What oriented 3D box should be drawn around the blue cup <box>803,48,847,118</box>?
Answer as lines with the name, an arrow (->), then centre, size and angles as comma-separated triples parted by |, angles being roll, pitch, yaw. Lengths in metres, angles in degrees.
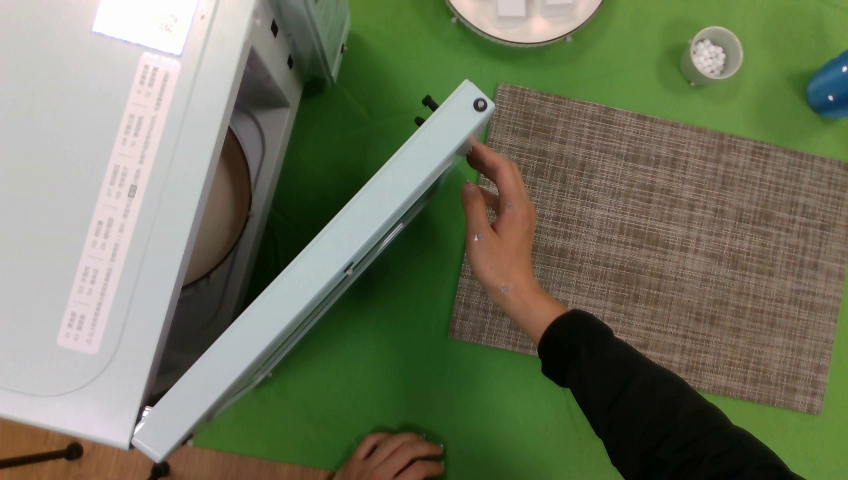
blue cup -> 0.488, -0.179, 0.682 | 0.093, 0.100, 0.092 | 0, 89, -4

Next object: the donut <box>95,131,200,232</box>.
donut -> -0.268, -0.057, 0.588 | 0.099, 0.048, 0.099 | 0, 91, 5

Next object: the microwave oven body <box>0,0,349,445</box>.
microwave oven body -> -0.286, -0.096, 0.546 | 0.326, 0.260, 0.441 | 15, 87, -3

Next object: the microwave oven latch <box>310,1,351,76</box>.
microwave oven latch -> -0.103, -0.222, 0.658 | 0.030, 0.029, 0.079 | 19, 87, -3

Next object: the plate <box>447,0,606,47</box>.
plate -> 0.114, -0.321, 0.695 | 0.208, 0.039, 0.207 | 0, 88, -4

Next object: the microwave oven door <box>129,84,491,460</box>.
microwave oven door -> -0.086, 0.024, 0.549 | 0.039, 0.244, 0.355 | 43, 86, 0

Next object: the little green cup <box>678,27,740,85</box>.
little green cup -> 0.329, -0.211, 0.705 | 0.061, 0.038, 0.061 | 0, 87, -3
